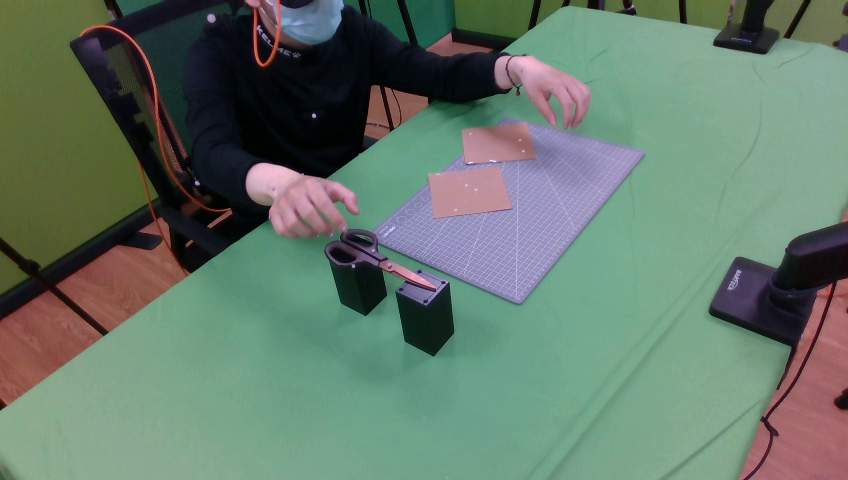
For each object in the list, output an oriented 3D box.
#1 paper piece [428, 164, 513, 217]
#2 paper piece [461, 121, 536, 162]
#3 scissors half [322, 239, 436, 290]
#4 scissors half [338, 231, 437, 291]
[{"bbox_3d":[0.078,-0.091,1.069,0.135,0.004,0.135,-6,41,0],"label":"paper piece"},{"bbox_3d":[0.143,-0.193,1.181,0.136,0.009,0.137,-2,40,1],"label":"paper piece"},{"bbox_3d":[-0.060,0.034,0.787,0.174,0.013,0.040,19,34,21],"label":"scissors half"},{"bbox_3d":[-0.049,0.026,0.801,0.173,0.013,0.040,30,44,33],"label":"scissors half"}]
